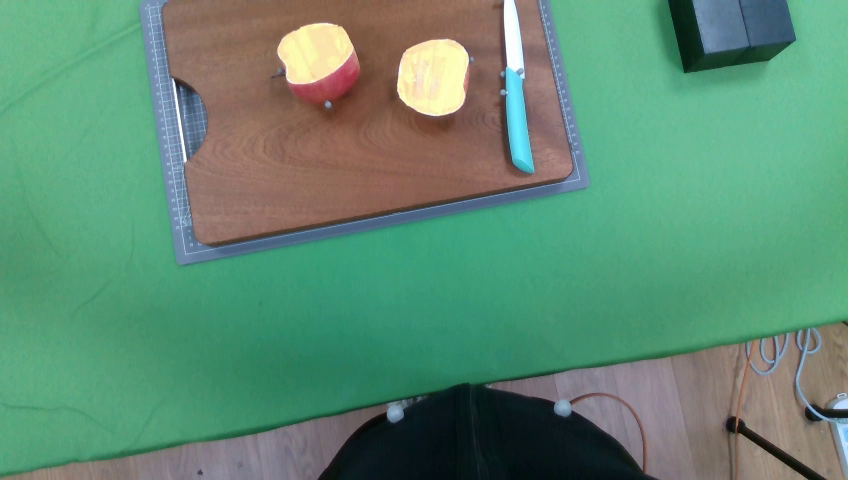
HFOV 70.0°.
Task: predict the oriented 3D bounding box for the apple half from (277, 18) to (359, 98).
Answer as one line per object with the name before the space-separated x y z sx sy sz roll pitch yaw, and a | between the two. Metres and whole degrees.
apple half | -0.103 -0.179 0.614 0.074 0.054 0.080 -28 61 -2

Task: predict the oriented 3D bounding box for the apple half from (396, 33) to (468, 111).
apple half | 0.011 -0.172 0.628 0.081 0.033 0.081 1 94 11

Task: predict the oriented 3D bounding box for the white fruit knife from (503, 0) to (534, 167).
white fruit knife | 0.095 -0.179 0.640 0.027 0.016 0.206 0 81 -30
